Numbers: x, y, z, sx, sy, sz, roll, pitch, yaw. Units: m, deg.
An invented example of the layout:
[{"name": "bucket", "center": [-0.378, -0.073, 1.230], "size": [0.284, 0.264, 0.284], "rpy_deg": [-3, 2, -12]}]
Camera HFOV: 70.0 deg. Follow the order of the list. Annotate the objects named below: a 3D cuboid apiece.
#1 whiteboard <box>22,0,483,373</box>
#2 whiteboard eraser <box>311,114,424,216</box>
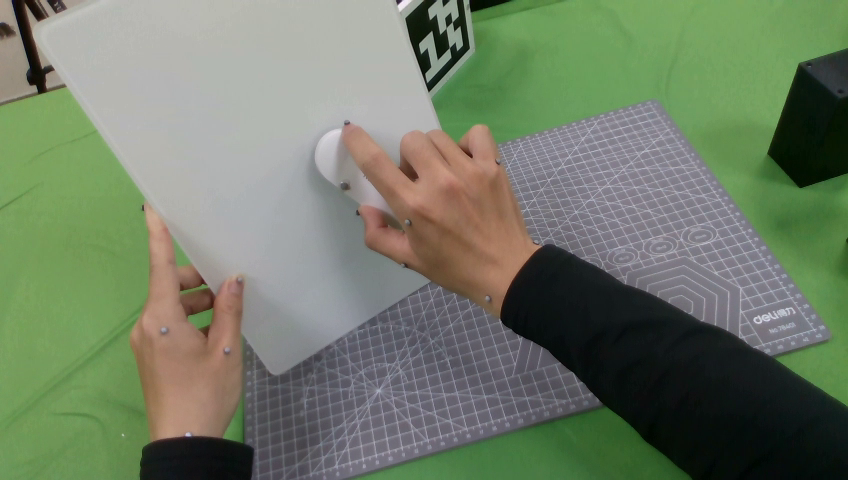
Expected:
[{"name": "whiteboard", "center": [-0.116, -0.088, 0.501], "size": [0.217, 0.308, 0.142], "rpy_deg": [-31, 33, -11]}, {"name": "whiteboard eraser", "center": [-0.041, -0.055, 0.458], "size": [0.041, 0.102, 0.018], "rpy_deg": [-52, 32, 1]}]
